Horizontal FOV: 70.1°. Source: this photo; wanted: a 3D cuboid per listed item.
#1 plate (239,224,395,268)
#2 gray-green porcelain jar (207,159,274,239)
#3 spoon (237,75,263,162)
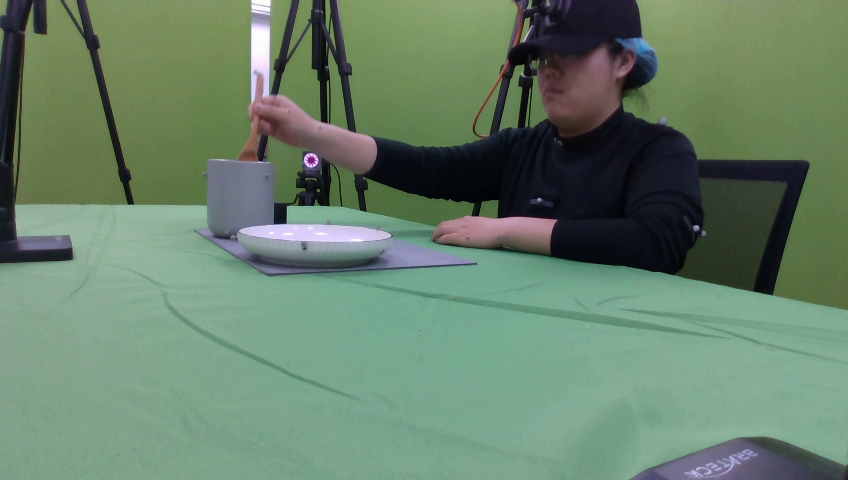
[{"bbox_3d":[-0.144,0.007,0.823,0.208,0.039,0.207,3,7,0],"label":"plate"},{"bbox_3d":[-0.304,-0.068,1.003,0.106,0.126,0.106,3,7,0],"label":"gray-green porcelain jar"},{"bbox_3d":[-0.289,-0.190,1.028,0.042,0.193,0.021,12,-9,-32],"label":"spoon"}]
